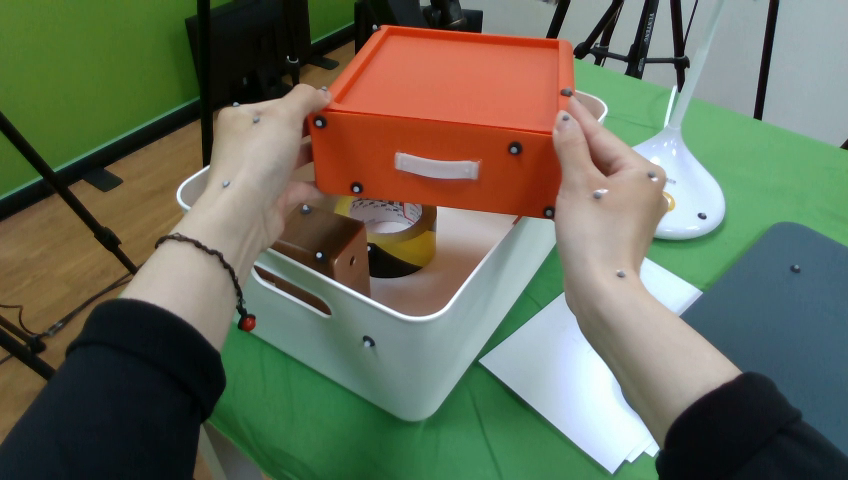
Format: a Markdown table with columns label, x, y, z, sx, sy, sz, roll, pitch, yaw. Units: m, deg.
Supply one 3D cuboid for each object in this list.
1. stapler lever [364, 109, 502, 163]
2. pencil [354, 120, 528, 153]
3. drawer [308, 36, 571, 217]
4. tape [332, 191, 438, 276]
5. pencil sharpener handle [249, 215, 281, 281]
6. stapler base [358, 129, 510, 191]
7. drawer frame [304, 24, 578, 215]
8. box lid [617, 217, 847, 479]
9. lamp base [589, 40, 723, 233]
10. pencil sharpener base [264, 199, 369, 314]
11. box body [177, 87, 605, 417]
| label | x | y | z | sx | sy | sz | roll | pitch | yaw |
| --- | --- | --- | --- | --- | --- | --- | --- | --- | --- |
| stapler lever | 0.007 | -0.093 | 0.496 | 0.117 | 0.040 | 0.027 | 17 | 36 | 20 |
| pencil | 0.008 | -0.092 | 0.537 | 0.192 | 0.012 | 0.012 | 16 | 43 | 37 |
| drawer | 0.026 | -0.112 | 0.534 | 0.194 | 0.074 | 0.210 | 7 | 35 | 7 |
| tape | -0.042 | -0.019 | 0.662 | 0.117 | 0.053 | 0.115 | 2 | 44 | -1 |
| pencil sharpener handle | -0.150 | 0.004 | 0.571 | 0.030 | 0.068 | 0.036 | 17 | 15 | 17 |
| stapler base | 0.008 | -0.073 | 0.510 | 0.130 | 0.024 | 0.041 | 16 | 35 | 21 |
| drawer frame | 0.026 | -0.118 | 0.536 | 0.201 | 0.083 | 0.212 | 6 | 35 | 7 |
| box lid | 0.385 | 0.115 | 0.579 | 0.371 | 0.015 | 0.260 | -32 | 52 | -31 |
| lamp base | 0.291 | -0.128 | 0.708 | 0.160 | 0.182 | 0.178 | 10 | 41 | 8 |
| pencil sharpener base | -0.100 | 0.024 | 0.572 | 0.076 | 0.108 | 0.061 | 17 | 46 | 17 |
| box body | -0.011 | -0.035 | 0.609 | 0.252 | 0.162 | 0.363 | 25 | 48 | 21 |
